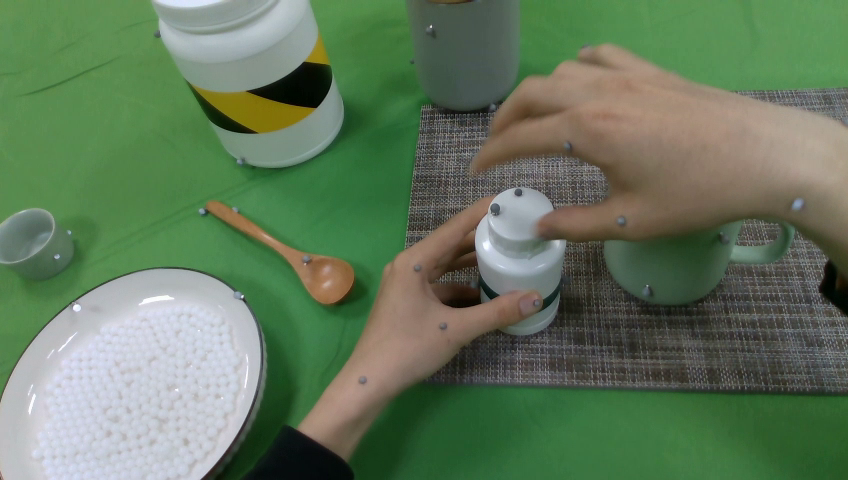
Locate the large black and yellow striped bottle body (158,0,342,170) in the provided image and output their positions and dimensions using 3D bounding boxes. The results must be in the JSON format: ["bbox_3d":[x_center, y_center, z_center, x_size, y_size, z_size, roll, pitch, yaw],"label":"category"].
[{"bbox_3d":[-0.160,-0.169,0.565,0.130,0.186,0.129,-4,56,6],"label":"large black and yellow striped bottle body"}]

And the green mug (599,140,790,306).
[{"bbox_3d":[0.199,-0.008,0.449,0.125,0.106,0.092,9,57,13],"label":"green mug"}]

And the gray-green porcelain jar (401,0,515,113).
[{"bbox_3d":[0.036,-0.198,0.588,0.106,0.128,0.105,-4,52,5],"label":"gray-green porcelain jar"}]

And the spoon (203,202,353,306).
[{"bbox_3d":[-0.137,0.004,0.543,0.192,0.022,0.041,29,84,24],"label":"spoon"}]

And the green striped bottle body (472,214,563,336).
[{"bbox_3d":[0.068,0.018,0.441,0.063,0.120,0.062,-4,56,6],"label":"green striped bottle body"}]

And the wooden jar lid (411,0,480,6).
[{"bbox_3d":[0.029,-0.236,0.539,0.108,0.021,0.107,-6,54,8],"label":"wooden jar lid"}]

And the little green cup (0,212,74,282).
[{"bbox_3d":[-0.363,0.008,0.564,0.061,0.039,0.061,-3,56,5],"label":"little green cup"}]

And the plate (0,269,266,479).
[{"bbox_3d":[-0.220,0.119,0.470,0.209,0.038,0.207,-4,56,6],"label":"plate"}]

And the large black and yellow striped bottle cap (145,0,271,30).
[{"bbox_3d":[-0.172,-0.214,0.495,0.115,0.019,0.114,-3,55,5],"label":"large black and yellow striped bottle cap"}]

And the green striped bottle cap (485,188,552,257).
[{"bbox_3d":[0.062,-0.012,0.397,0.044,0.020,0.044,-3,60,6],"label":"green striped bottle cap"}]
